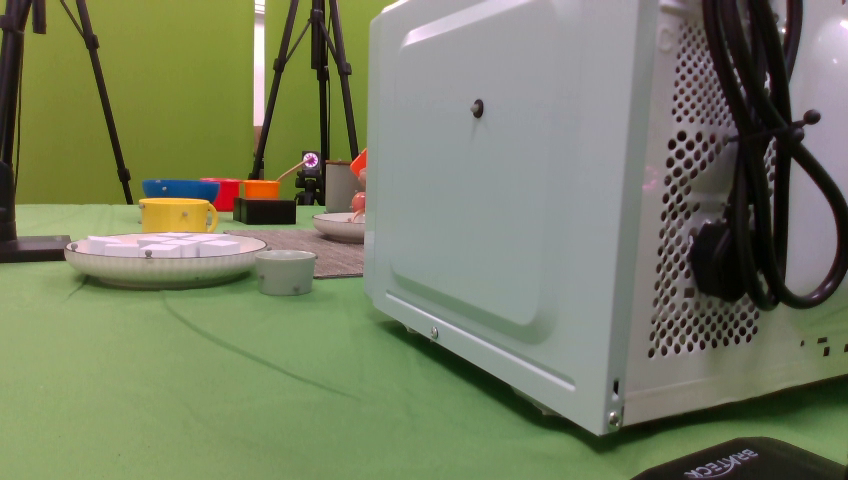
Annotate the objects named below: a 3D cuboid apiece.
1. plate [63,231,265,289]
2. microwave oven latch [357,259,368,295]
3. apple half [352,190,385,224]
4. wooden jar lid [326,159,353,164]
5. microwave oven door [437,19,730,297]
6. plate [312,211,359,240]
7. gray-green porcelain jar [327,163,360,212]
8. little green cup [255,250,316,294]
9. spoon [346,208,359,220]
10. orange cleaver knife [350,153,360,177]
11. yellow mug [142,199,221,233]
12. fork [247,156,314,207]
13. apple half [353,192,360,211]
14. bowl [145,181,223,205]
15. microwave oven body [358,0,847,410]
[{"bbox_3d":[-0.288,0.021,0.687,0.208,0.039,0.207,2,8,0],"label":"plate"},{"bbox_3d":[-0.019,0.031,0.529,0.079,0.029,0.030,-1,7,-26],"label":"microwave oven latch"},{"bbox_3d":[-0.125,-0.072,1.295,0.082,0.081,0.032,-3,12,-32],"label":"apple half"},{"bbox_3d":[-0.185,-0.187,1.481,0.108,0.020,0.108,4,6,0],"label":"wooden jar lid"},{"bbox_3d":[0.180,-0.076,0.618,0.358,0.243,0.039,-2,9,-28],"label":"microwave oven door"},{"bbox_3d":[-0.091,-0.026,1.063,0.209,0.038,0.209,2,7,0],"label":"plate"},{"bbox_3d":[-0.187,-0.125,1.490,0.106,0.126,0.106,2,8,0],"label":"gray-green porcelain jar"},{"bbox_3d":[-0.144,0.032,0.627,0.061,0.038,0.061,3,6,0],"label":"little green cup"},{"bbox_3d":[-0.123,-0.047,1.117,0.041,0.021,0.194,-9,16,18],"label":"spoon"},{"bbox_3d":[-0.070,-0.127,1.306,0.212,0.077,0.012,34,-16,-35],"label":"orange cleaver knife"},{"bbox_3d":[-0.372,-0.030,0.948,0.099,0.064,0.131,5,7,30],"label":"yellow mug"},{"bbox_3d":[-0.360,-0.147,1.523,0.207,0.018,0.028,-43,15,-7],"label":"fork"},{"bbox_3d":[-0.103,-0.066,1.261,0.081,0.074,0.053,2,10,-31],"label":"apple half"},{"bbox_3d":[-0.499,-0.081,1.261,0.151,0.077,0.151,2,8,0],"label":"bowl"},{"bbox_3d":[0.210,-0.051,0.471,0.444,0.260,0.324,-1,7,-28],"label":"microwave oven body"}]
